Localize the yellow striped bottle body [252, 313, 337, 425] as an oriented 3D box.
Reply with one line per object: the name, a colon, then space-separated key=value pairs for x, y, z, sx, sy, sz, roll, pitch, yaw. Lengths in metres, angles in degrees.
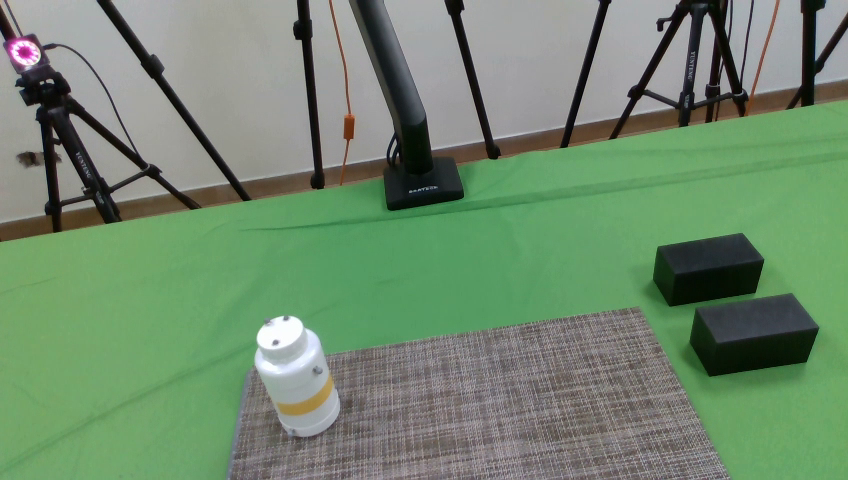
yellow striped bottle body: x=-0.129 y=0.123 z=0.598 sx=0.063 sy=0.121 sz=0.062 roll=-6 pitch=39 yaw=5

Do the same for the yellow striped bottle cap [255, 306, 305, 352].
yellow striped bottle cap: x=-0.135 y=0.082 z=0.566 sx=0.044 sy=0.019 sz=0.044 roll=-7 pitch=37 yaw=6
